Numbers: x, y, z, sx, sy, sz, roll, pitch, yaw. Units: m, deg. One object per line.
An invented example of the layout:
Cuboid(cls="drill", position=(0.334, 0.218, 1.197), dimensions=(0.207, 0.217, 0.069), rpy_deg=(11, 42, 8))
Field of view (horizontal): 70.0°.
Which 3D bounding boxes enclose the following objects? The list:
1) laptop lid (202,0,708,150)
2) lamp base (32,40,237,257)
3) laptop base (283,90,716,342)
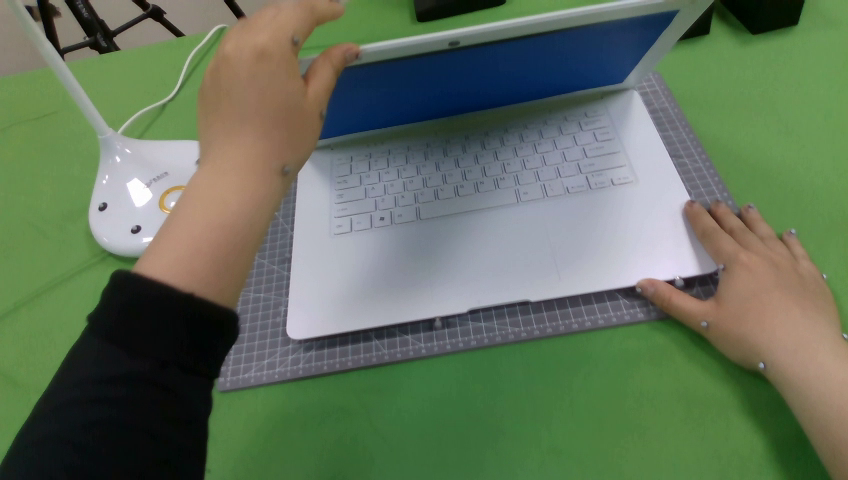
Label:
Cuboid(cls="laptop lid", position=(0.027, -0.131, 0.513), dimensions=(0.356, 0.242, 0.013), rpy_deg=(-10, 87, 6))
Cuboid(cls="lamp base", position=(-0.298, -0.099, 0.586), dimensions=(0.178, 0.182, 0.160), rpy_deg=(21, 57, 30))
Cuboid(cls="laptop base", position=(0.049, -0.031, 0.559), dimensions=(0.354, 0.023, 0.233), rpy_deg=(-10, 52, 4))
